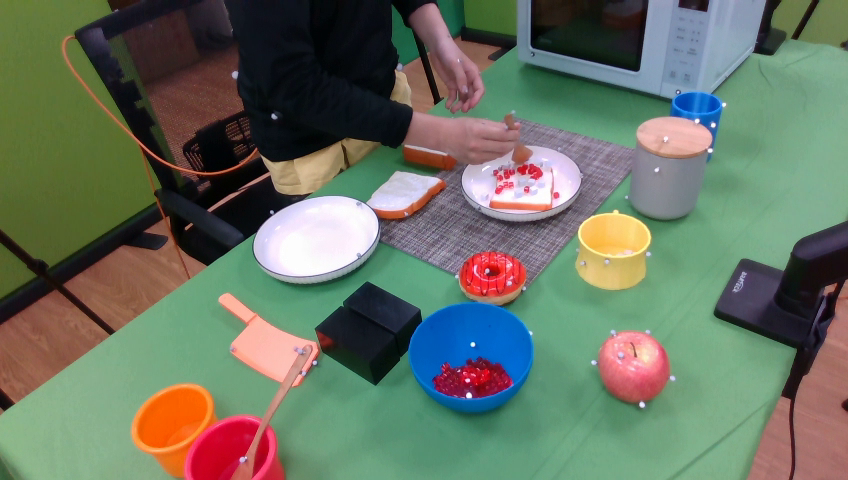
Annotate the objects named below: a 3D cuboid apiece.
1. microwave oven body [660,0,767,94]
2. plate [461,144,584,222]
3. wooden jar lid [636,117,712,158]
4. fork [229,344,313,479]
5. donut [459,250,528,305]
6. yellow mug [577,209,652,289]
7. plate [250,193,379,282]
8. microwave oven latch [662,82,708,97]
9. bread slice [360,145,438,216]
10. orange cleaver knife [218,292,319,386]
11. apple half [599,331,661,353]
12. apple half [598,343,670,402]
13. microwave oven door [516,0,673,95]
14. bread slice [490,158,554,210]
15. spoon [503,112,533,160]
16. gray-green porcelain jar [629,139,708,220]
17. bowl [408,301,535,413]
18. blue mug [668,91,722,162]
[{"bbox_3d":[0.474,-0.516,1.313,0.438,0.261,0.327,26,51,34],"label":"microwave oven body"},{"bbox_3d":[0.168,-0.095,1.040,0.207,0.039,0.206,-4,40,4],"label":"plate"},{"bbox_3d":[0.377,-0.151,0.917,0.108,0.021,0.108,-2,42,2],"label":"wooden jar lid"},{"bbox_3d":[-0.173,0.205,0.662,0.028,0.019,0.207,29,94,36],"label":"fork"},{"bbox_3d":[0.100,0.053,0.873,0.099,0.048,0.098,-4,40,4],"label":"donut"},{"bbox_3d":[0.279,0.005,0.893,0.099,0.064,0.130,5,41,15],"label":"yellow mug"},{"bbox_3d":[-0.174,-0.001,0.984,0.209,0.038,0.208,-3,40,3],"label":"plate"},{"bbox_3d":[0.518,-0.298,1.202,0.078,0.029,0.030,28,53,35],"label":"microwave oven latch"},{"bbox_3d":[-0.053,-0.103,1.046,0.106,0.018,0.134,18,66,22],"label":"bread slice"},{"bbox_3d":[-0.235,0.136,0.850,0.209,0.012,0.077,25,57,30],"label":"orange cleaver knife"},{"bbox_3d":[0.249,0.134,0.738,0.081,0.081,0.032,-1,46,7],"label":"apple half"},{"bbox_3d":[0.247,0.161,0.710,0.081,0.075,0.053,1,47,5],"label":"apple half"},{"bbox_3d":[0.344,-0.458,1.257,0.353,0.245,0.039,26,51,33],"label":"microwave oven door"},{"bbox_3d":[0.174,-0.099,1.048,0.104,0.019,0.131,4,44,12],"label":"bread slice"},{"bbox_3d":[0.150,-0.170,1.000,0.041,0.195,0.021,-20,69,12],"label":"spoon"},{"bbox_3d":[0.383,-0.104,0.958,0.106,0.127,0.105,-4,41,4],"label":"gray-green porcelain jar"},{"bbox_3d":[0.060,0.156,0.739,0.151,0.077,0.150,-4,40,4],"label":"bowl"},{"bbox_3d":[0.474,-0.207,1.078,0.082,0.106,0.116,4,42,13],"label":"blue mug"}]
